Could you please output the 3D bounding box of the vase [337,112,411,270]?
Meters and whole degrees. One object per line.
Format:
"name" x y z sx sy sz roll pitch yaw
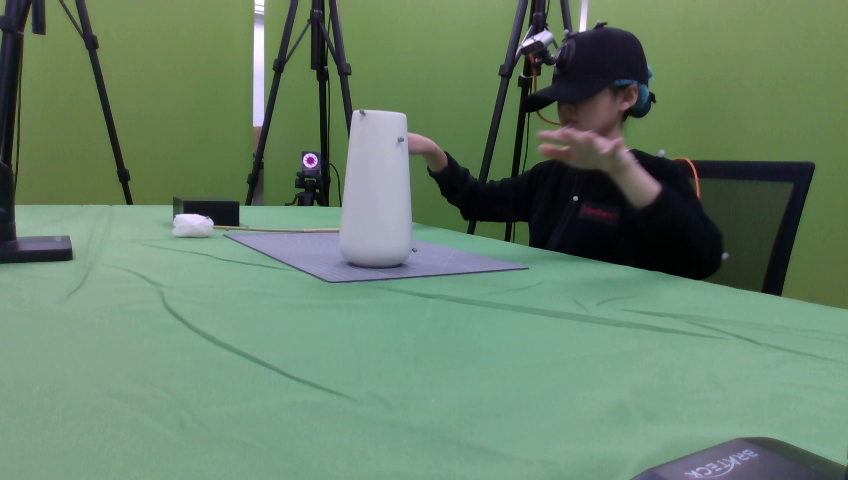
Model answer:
"vase" -0.064 -0.064 0.790 0.098 0.200 0.098 2 7 0

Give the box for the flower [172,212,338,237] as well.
"flower" -0.254 -0.017 1.079 0.364 0.038 0.044 4 38 -31
